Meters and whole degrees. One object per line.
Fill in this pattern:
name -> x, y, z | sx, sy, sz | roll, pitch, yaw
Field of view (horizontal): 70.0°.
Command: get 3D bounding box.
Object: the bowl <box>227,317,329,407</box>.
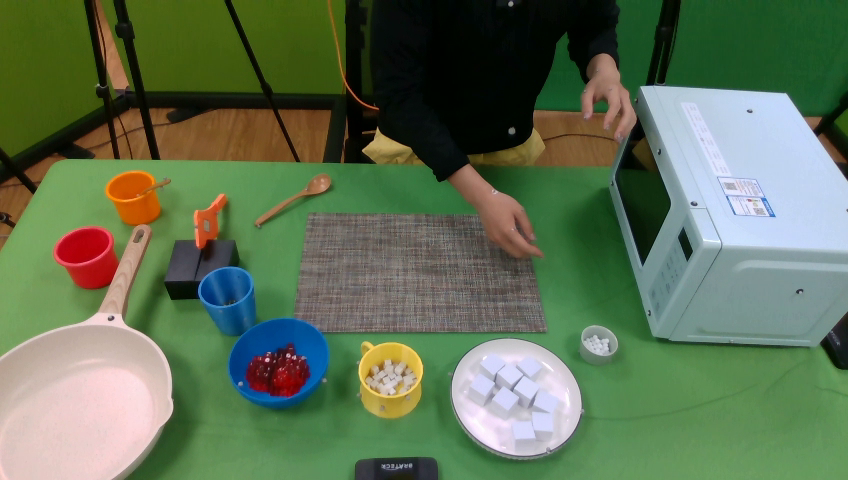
bowl -> -0.222, 0.203, 0.947 | 0.151, 0.077, 0.150 | 2, 46, -2

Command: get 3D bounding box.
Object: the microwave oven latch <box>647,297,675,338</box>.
microwave oven latch -> 0.413, 0.133, 1.060 | 0.030, 0.029, 0.078 | 5, 46, 2

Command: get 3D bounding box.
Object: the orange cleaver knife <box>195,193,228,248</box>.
orange cleaver knife -> -0.406, -0.041, 1.163 | 0.012, 0.077, 0.210 | 0, 18, -3

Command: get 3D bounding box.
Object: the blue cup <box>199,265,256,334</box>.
blue cup -> -0.321, 0.106, 1.014 | 0.093, 0.101, 0.092 | 2, 49, -2

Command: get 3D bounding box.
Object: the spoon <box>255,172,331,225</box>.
spoon -> -0.272, -0.087, 1.257 | 0.041, 0.022, 0.193 | 43, 57, 16

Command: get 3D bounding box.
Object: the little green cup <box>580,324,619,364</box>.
little green cup -> 0.296, 0.179, 1.031 | 0.061, 0.039, 0.061 | 2, 45, -2

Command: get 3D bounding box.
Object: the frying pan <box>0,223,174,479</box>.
frying pan -> -0.505, 0.169, 0.941 | 0.307, 0.103, 0.485 | 5, 54, -1

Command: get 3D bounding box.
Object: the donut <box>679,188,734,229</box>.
donut -> 0.546, -0.062, 1.175 | 0.099, 0.048, 0.098 | 0, 44, 0

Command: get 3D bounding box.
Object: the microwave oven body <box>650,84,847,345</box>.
microwave oven body -> 0.569, -0.054, 1.116 | 0.326, 0.261, 0.439 | 2, 46, -1

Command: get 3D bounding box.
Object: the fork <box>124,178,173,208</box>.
fork -> -0.525, -0.090, 1.154 | 0.207, 0.019, 0.028 | -17, 27, 45

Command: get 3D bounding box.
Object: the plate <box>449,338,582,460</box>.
plate -> 0.141, 0.251, 0.955 | 0.208, 0.039, 0.206 | 2, 46, -2

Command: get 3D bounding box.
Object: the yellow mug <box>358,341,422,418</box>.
yellow mug -> -0.063, 0.210, 0.961 | 0.100, 0.064, 0.130 | -29, 54, -28

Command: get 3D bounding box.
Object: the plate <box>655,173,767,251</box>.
plate -> 0.556, -0.052, 1.187 | 0.209, 0.038, 0.208 | 2, 46, -2

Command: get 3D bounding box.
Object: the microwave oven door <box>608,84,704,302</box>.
microwave oven door -> 0.425, -0.096, 1.138 | 0.039, 0.245, 0.353 | 2, 46, -1
